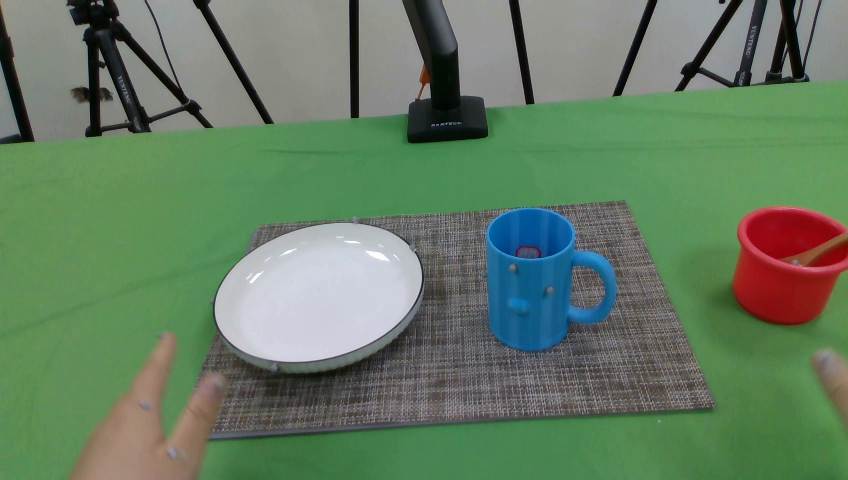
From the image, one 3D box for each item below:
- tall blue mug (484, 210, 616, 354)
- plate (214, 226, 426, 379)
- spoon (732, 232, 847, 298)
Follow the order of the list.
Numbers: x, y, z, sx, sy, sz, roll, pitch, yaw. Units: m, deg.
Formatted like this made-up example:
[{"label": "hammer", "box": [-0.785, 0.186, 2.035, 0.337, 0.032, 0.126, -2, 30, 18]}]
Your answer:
[{"label": "tall blue mug", "box": [0.110, 0.037, 0.550, 0.107, 0.109, 0.077, -8, 37, -2]}, {"label": "plate", "box": [-0.100, 0.061, 0.609, 0.207, 0.039, 0.205, -4, 37, 3]}, {"label": "spoon", "box": [0.368, 0.004, 0.532, 0.194, 0.022, 0.041, -38, 22, 37]}]
